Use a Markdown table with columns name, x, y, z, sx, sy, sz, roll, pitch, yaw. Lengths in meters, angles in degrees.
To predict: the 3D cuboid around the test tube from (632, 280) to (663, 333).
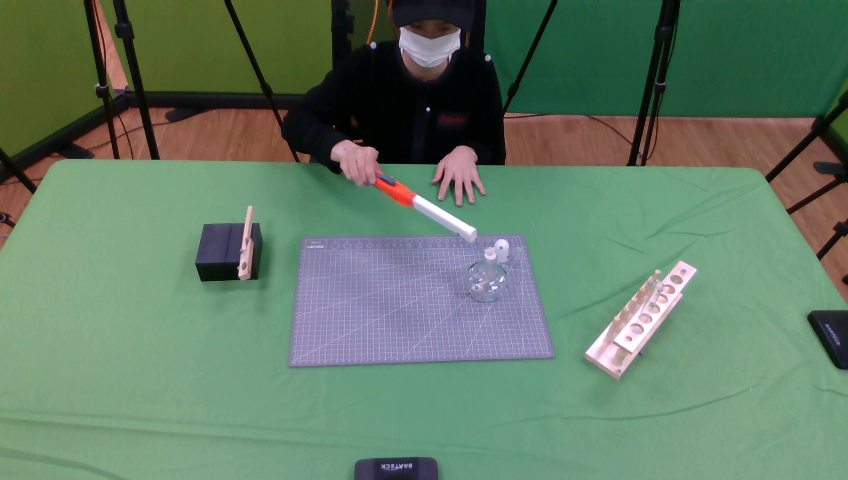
| name | x | y | z | sx | sy | sz | roll | pitch | yaw |
| --- | --- | --- | --- | --- | --- | --- | --- | --- | --- |
| test tube | 0.363 | 0.121 | 0.997 | 0.017 | 0.151 | 0.017 | 2 | 44 | -1 |

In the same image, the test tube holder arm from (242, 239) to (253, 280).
| name | x | y | z | sx | sy | sz | roll | pitch | yaw |
| --- | --- | --- | --- | --- | --- | --- | --- | --- | --- |
| test tube holder arm | -0.313 | 0.033 | 1.075 | 0.010 | 0.015 | 0.087 | -10 | 46 | -1 |

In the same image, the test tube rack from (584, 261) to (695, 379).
| name | x | y | z | sx | sy | sz | roll | pitch | yaw |
| --- | --- | --- | --- | --- | --- | --- | --- | --- | --- |
| test tube rack | 0.380 | 0.127 | 1.062 | 0.066 | 0.085 | 0.242 | 34 | 53 | 26 |

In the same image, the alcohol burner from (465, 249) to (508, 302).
| name | x | y | z | sx | sy | sz | roll | pitch | yaw |
| --- | --- | --- | --- | --- | --- | --- | --- | --- | --- |
| alcohol burner | 0.114 | 0.057 | 1.085 | 0.078 | 0.120 | 0.077 | 2 | 48 | -2 |

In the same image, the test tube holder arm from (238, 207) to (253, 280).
| name | x | y | z | sx | sy | sz | roll | pitch | yaw |
| --- | --- | --- | --- | --- | --- | --- | --- | --- | --- |
| test tube holder arm | -0.325 | 0.003 | 1.106 | 0.013 | 0.015 | 0.177 | -10 | 46 | -1 |

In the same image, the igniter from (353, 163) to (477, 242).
| name | x | y | z | sx | sy | sz | roll | pitch | yaw |
| --- | --- | --- | --- | --- | --- | --- | --- | --- | --- |
| igniter | -0.023 | -0.071 | 1.073 | 0.275 | 0.057 | 0.025 | 31 | 66 | 24 |

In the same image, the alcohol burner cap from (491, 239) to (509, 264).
| name | x | y | z | sx | sy | sz | roll | pitch | yaw |
| --- | --- | --- | --- | --- | --- | --- | --- | --- | --- |
| alcohol burner cap | 0.150 | 0.020 | 1.174 | 0.034 | 0.048 | 0.033 | 2 | 46 | -2 |
